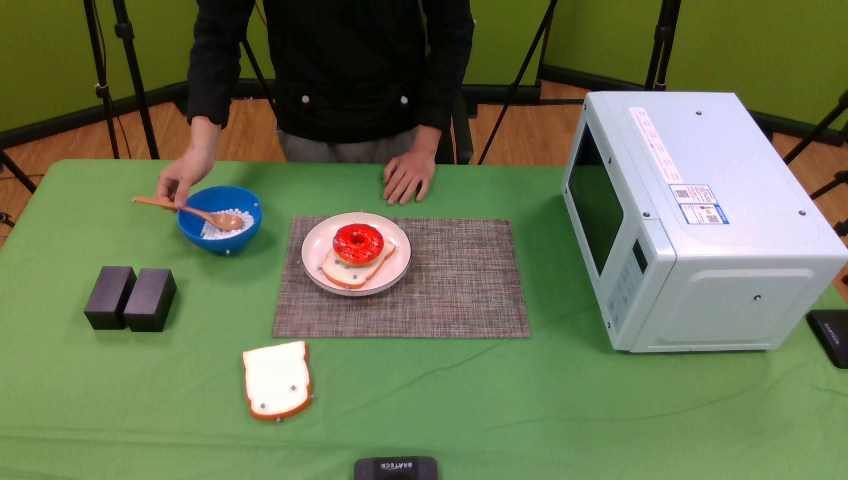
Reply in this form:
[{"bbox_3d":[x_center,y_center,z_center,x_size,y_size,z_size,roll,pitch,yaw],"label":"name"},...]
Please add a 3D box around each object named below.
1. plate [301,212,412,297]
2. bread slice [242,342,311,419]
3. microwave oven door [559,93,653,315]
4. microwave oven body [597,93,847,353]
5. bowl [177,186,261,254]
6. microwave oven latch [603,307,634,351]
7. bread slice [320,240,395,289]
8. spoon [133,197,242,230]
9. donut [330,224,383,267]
[{"bbox_3d":[-0.126,0.031,1.145,0.208,0.039,0.206,2,46,-2],"label":"plate"},{"bbox_3d":[-0.234,0.223,0.970,0.105,0.019,0.130,-10,46,-12],"label":"bread slice"},{"bbox_3d":[0.327,-0.074,1.123,0.039,0.245,0.353,-1,46,-5],"label":"microwave oven door"},{"bbox_3d":[0.475,-0.041,1.109,0.326,0.261,0.438,-1,45,-4],"label":"microwave oven body"},{"bbox_3d":[-0.383,-0.026,1.157,0.151,0.077,0.150,2,46,-2],"label":"bowl"},{"bbox_3d":[0.332,0.153,1.044,0.030,0.029,0.078,0,45,-4],"label":"microwave oven latch"},{"bbox_3d":[-0.129,0.037,1.141,0.107,0.018,0.134,19,47,14],"label":"bread slice"},{"bbox_3d":[-0.440,-0.054,1.133,0.194,0.022,0.041,18,43,-21],"label":"spoon"},{"bbox_3d":[-0.125,0.010,1.127,0.099,0.048,0.098,3,45,-3],"label":"donut"}]
